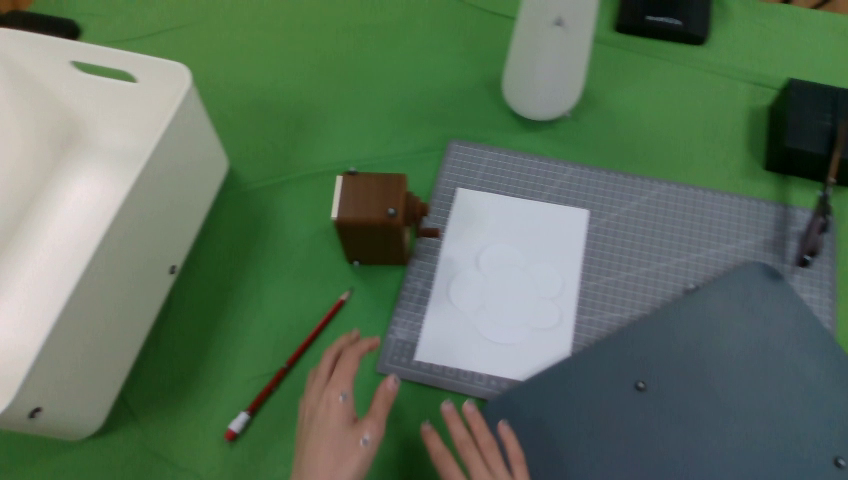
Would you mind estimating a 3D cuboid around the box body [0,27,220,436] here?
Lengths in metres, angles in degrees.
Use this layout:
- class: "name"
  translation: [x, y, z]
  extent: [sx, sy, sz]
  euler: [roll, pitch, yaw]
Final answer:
- class: "box body"
  translation: [-0.396, -0.009, 0.609]
  extent: [0.254, 0.161, 0.361]
  euler: [12, 66, 8]

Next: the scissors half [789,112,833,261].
- class: "scissors half"
  translation: [0.422, -0.060, 0.656]
  extent: [0.012, 0.040, 0.175]
  euler: [16, 84, 24]

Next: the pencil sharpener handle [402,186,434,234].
- class: "pencil sharpener handle"
  translation: [-0.005, -0.028, 0.624]
  extent: [0.030, 0.068, 0.035]
  euler: [1, 58, 2]

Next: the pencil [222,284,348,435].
- class: "pencil"
  translation: [-0.139, 0.119, 0.628]
  extent: [0.012, 0.012, 0.193]
  euler: [32, 68, 16]

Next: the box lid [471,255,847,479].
- class: "box lid"
  translation: [0.259, 0.190, 0.580]
  extent: [0.372, 0.015, 0.261]
  euler: [-27, 68, -10]

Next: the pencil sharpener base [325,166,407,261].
- class: "pencil sharpener base"
  translation: [-0.056, -0.025, 0.637]
  extent: [0.077, 0.108, 0.061]
  euler: [1, 64, 2]

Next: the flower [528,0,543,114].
- class: "flower"
  translation: [0.121, -0.281, 0.609]
  extent: [0.044, 0.365, 0.038]
  euler: [5, 47, 8]

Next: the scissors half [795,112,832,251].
- class: "scissors half"
  translation: [0.416, -0.066, 0.638]
  extent: [0.013, 0.040, 0.174]
  euler: [17, 67, 19]

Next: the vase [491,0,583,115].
- class: "vase"
  translation: [0.128, -0.232, 0.678]
  extent: [0.098, 0.201, 0.097]
  euler: [-1, 63, 3]
